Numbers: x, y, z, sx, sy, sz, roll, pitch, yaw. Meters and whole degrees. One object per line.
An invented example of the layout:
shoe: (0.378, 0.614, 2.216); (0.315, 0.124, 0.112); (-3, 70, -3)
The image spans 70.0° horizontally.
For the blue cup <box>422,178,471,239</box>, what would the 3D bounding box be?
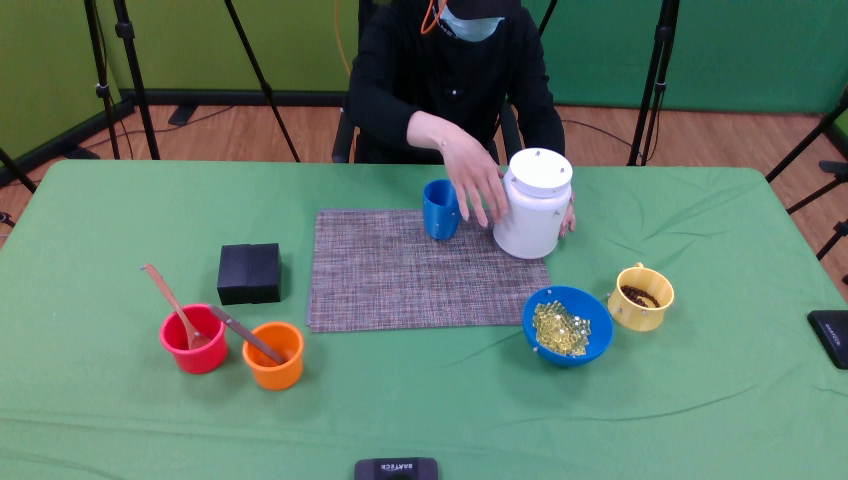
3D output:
blue cup: (0.036, -0.056, 1.192); (0.093, 0.101, 0.092); (3, 45, -3)

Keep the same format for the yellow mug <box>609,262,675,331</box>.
yellow mug: (0.393, 0.094, 1.103); (0.100, 0.064, 0.130); (7, 45, 3)

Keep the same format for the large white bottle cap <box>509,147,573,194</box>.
large white bottle cap: (0.212, -0.127, 1.097); (0.115, 0.018, 0.114); (2, 46, -2)

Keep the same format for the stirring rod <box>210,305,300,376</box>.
stirring rod: (-0.262, 0.158, 0.946); (0.177, 0.006, 0.014); (43, 43, -21)

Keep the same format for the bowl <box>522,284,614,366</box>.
bowl: (0.235, 0.158, 1.022); (0.151, 0.077, 0.150); (2, 46, -2)

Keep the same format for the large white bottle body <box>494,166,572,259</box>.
large white bottle body: (0.208, -0.068, 1.159); (0.131, 0.185, 0.130); (2, 46, -2)

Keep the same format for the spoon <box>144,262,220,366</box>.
spoon: (-0.389, 0.118, 0.970); (0.041, 0.021, 0.194); (-34, 101, -33)
